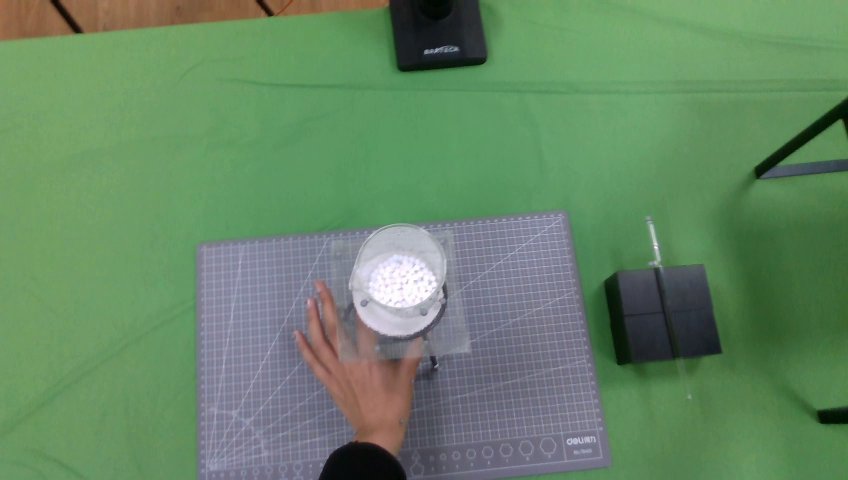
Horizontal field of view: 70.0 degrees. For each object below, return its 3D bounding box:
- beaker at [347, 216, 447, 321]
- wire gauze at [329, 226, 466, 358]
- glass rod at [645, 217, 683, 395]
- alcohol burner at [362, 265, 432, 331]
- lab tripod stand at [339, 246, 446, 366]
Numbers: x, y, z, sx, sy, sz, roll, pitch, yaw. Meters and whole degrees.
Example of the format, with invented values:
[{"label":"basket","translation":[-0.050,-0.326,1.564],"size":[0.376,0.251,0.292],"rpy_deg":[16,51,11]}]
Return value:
[{"label":"beaker","translation":[-0.023,0.032,0.534],"size":[0.084,0.101,0.073],"rpy_deg":[-21,76,-7]},{"label":"wire gauze","translation":[-0.026,0.049,0.579],"size":[0.125,0.011,0.121],"rpy_deg":[-4,76,-5]},{"label":"glass rod","translation":[0.264,0.070,0.669],"size":[0.008,0.008,0.198],"rpy_deg":[-5,76,-3]},{"label":"alcohol burner","translation":[-0.029,0.062,0.654],"size":[0.078,0.119,0.077],"rpy_deg":[1,76,-3]},{"label":"lab tripod stand","translation":[-0.025,0.063,0.644],"size":[0.148,0.132,0.147],"rpy_deg":[0,73,-1]}]
